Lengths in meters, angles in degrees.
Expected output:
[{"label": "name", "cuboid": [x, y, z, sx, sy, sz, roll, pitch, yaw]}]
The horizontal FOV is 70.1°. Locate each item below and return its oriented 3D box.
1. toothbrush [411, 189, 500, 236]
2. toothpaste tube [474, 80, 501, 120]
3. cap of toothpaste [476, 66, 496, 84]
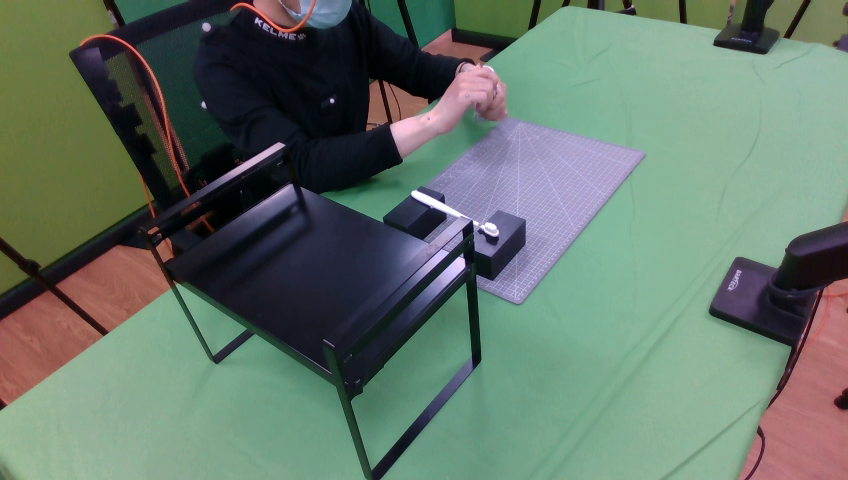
[{"label": "toothbrush", "cuboid": [0.045, -0.046, 0.940, 0.180, 0.017, 0.014, 28, 67, 36]}, {"label": "toothpaste tube", "cuboid": [0.121, -0.271, 1.149, 0.055, 0.165, 0.034, -1, 75, 6]}, {"label": "cap of toothpaste", "cuboid": [0.110, -0.292, 1.074, 0.037, 0.011, 0.037, -1, 76, 3]}]
